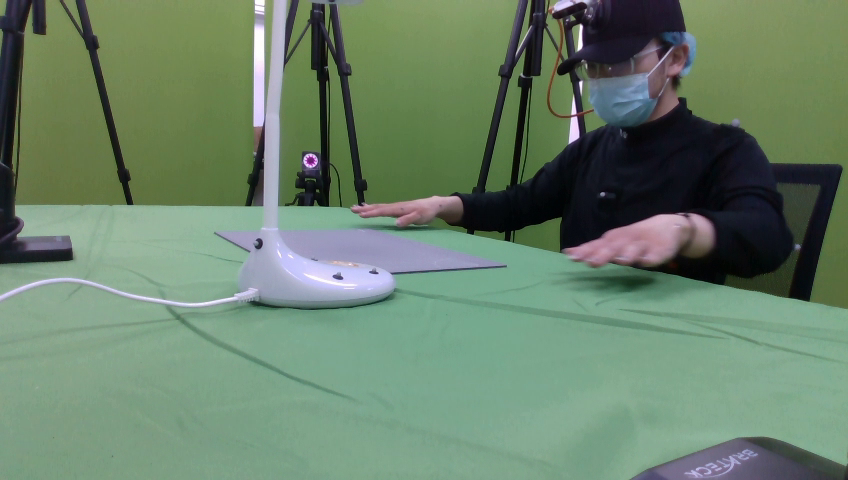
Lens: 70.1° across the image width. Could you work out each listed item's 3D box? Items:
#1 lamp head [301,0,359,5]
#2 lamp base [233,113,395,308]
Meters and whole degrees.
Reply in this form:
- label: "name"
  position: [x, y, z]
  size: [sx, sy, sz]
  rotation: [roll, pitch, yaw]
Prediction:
- label: "lamp head"
  position: [-0.095, -0.314, 0.610]
  size: [0.112, 0.123, 0.112]
  rotation: [-4, 50, 5]
- label: "lamp base"
  position: [-0.113, -0.033, 0.600]
  size: [0.160, 0.180, 0.180]
  rotation: [6, 11, 28]
